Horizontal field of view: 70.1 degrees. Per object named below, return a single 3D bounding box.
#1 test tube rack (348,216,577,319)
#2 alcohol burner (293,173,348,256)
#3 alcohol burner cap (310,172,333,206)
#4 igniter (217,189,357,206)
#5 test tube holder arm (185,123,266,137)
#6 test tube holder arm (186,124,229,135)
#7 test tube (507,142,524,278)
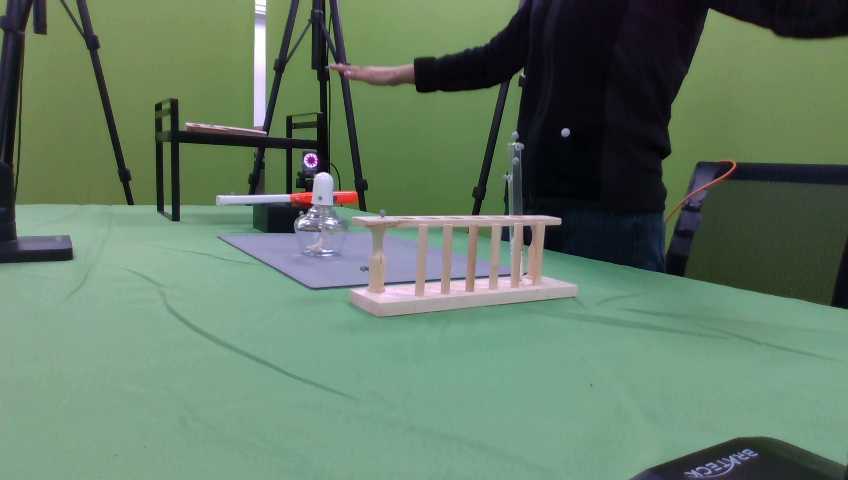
[{"bbox_3d":[0.048,0.021,0.619,0.244,0.085,0.066,-2,9,-31],"label":"test tube rack"},{"bbox_3d":[-0.147,-0.036,0.859,0.078,0.119,0.078,4,8,0],"label":"alcohol burner"},{"bbox_3d":[-0.144,-0.071,0.854,0.034,0.048,0.034,4,9,0],"label":"alcohol burner cap"},{"bbox_3d":[-0.251,-0.081,1.155,0.278,0.025,0.057,-5,8,-33],"label":"igniter"},{"bbox_3d":[-0.433,-0.242,1.333,0.179,0.015,0.013,-3,48,-42],"label":"test tube holder arm"},{"bbox_3d":[-0.465,-0.236,1.300,0.088,0.015,0.010,-2,47,-41],"label":"test tube holder arm"},{"bbox_3d":[0.101,-0.032,0.666,0.017,0.150,0.017,-2,6,1],"label":"test tube"}]
